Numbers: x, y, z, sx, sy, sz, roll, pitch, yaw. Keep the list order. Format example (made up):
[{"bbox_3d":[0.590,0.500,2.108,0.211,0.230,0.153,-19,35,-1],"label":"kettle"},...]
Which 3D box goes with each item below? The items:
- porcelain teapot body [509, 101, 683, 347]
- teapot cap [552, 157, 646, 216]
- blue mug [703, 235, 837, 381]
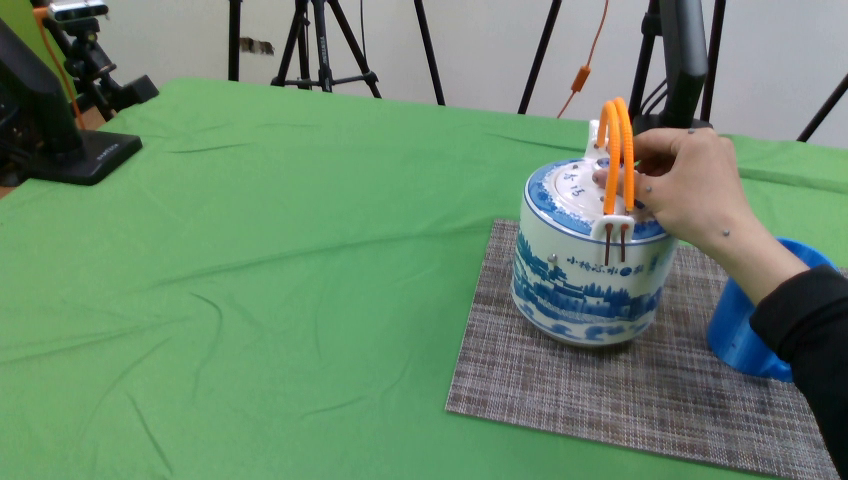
[{"bbox_3d":[0.163,-0.036,0.587,0.145,0.227,0.203,4,37,4],"label":"porcelain teapot body"},{"bbox_3d":[0.158,-0.051,0.542,0.085,0.044,0.084,6,35,-4],"label":"teapot cap"},{"bbox_3d":[0.318,0.070,0.550,0.082,0.107,0.115,-2,38,-3],"label":"blue mug"}]
